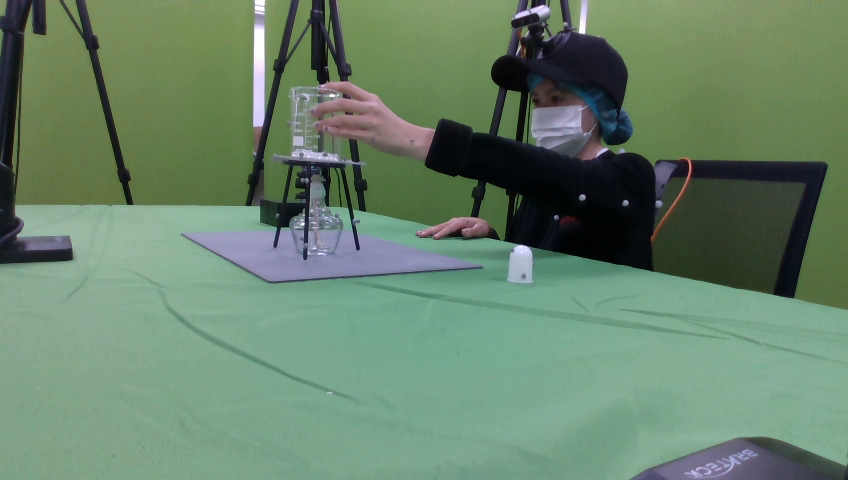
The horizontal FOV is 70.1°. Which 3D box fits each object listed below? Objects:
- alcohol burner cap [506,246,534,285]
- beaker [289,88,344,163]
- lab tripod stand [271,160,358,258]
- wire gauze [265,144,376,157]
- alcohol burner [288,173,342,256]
[{"bbox_3d":[0.119,0.032,0.740,0.034,0.048,0.034,2,7,0],"label":"alcohol burner cap"},{"bbox_3d":[-0.157,-0.160,0.859,0.084,0.100,0.074,5,7,20],"label":"beaker"},{"bbox_3d":[-0.159,-0.048,0.876,0.148,0.131,0.148,3,5,0],"label":"lab tripod stand"},{"bbox_3d":[-0.151,-0.128,0.869,0.122,0.011,0.124,-5,5,-35],"label":"wire gauze"},{"bbox_3d":[-0.157,-0.037,0.871,0.078,0.119,0.078,1,6,0],"label":"alcohol burner"}]
